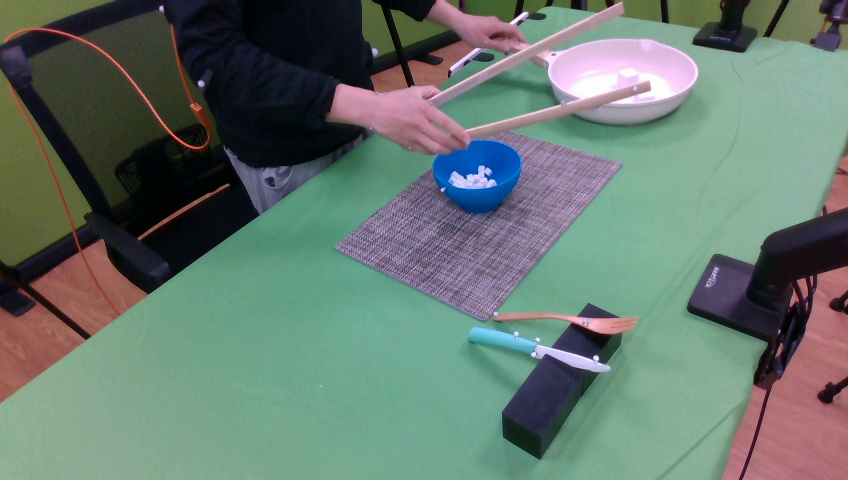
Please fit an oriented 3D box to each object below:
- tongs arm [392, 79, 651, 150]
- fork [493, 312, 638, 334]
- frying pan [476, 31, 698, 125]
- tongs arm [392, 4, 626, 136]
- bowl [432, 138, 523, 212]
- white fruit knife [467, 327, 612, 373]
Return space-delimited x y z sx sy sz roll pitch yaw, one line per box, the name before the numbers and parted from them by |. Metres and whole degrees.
tongs arm | 0.131 -0.190 0.892 0.383 0.027 0.050 -13 67 20
fork | 0.173 0.103 0.774 0.206 0.019 0.028 0 42 40
frying pan | 0.321 -0.371 1.290 0.484 0.103 0.307 29 51 23
tongs arm | 0.121 -0.258 0.924 0.386 0.028 0.028 -24 67 14
bowl | 0.091 -0.100 1.021 0.151 0.077 0.150 -4 41 4
white fruit knife | 0.134 0.134 0.742 0.205 0.027 0.016 7 34 41
